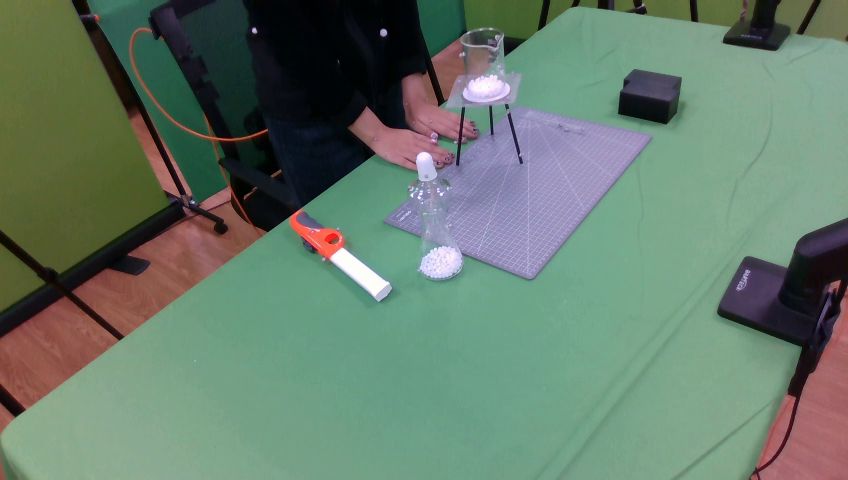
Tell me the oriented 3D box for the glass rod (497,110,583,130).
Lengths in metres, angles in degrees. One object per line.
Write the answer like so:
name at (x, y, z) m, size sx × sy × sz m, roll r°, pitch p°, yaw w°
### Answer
glass rod at (0.233, -0.245, 1.235) m, size 0.198 × 0.008 × 0.008 m, roll 20°, pitch 49°, yaw 35°

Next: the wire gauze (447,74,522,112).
wire gauze at (0.110, -0.268, 1.087) m, size 0.121 × 0.011 × 0.125 m, roll 1°, pitch 43°, yaw 15°

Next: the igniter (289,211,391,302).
igniter at (-0.146, 0.019, 0.986) m, size 0.057 × 0.025 × 0.274 m, roll -40°, pitch 48°, yaw -18°

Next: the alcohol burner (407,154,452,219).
alcohol burner at (0.008, -0.096, 1.020) m, size 0.078 × 0.119 × 0.077 m, roll -4°, pitch 40°, yaw 4°

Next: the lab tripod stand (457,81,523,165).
lab tripod stand at (0.120, -0.219, 1.130) m, size 0.148 × 0.132 × 0.147 m, roll -7°, pitch 39°, yaw 6°

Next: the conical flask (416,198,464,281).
conical flask at (0.019, -0.004, 0.907) m, size 0.075 × 0.122 × 0.075 m, roll -5°, pitch 40°, yaw 5°

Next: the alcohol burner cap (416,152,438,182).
alcohol burner cap at (0.003, -0.123, 0.996) m, size 0.034 × 0.048 × 0.033 m, roll -10°, pitch 37°, yaw 8°

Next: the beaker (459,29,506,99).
beaker at (0.107, -0.305, 1.056) m, size 0.074 × 0.101 × 0.083 m, roll -27°, pitch 43°, yaw -18°
